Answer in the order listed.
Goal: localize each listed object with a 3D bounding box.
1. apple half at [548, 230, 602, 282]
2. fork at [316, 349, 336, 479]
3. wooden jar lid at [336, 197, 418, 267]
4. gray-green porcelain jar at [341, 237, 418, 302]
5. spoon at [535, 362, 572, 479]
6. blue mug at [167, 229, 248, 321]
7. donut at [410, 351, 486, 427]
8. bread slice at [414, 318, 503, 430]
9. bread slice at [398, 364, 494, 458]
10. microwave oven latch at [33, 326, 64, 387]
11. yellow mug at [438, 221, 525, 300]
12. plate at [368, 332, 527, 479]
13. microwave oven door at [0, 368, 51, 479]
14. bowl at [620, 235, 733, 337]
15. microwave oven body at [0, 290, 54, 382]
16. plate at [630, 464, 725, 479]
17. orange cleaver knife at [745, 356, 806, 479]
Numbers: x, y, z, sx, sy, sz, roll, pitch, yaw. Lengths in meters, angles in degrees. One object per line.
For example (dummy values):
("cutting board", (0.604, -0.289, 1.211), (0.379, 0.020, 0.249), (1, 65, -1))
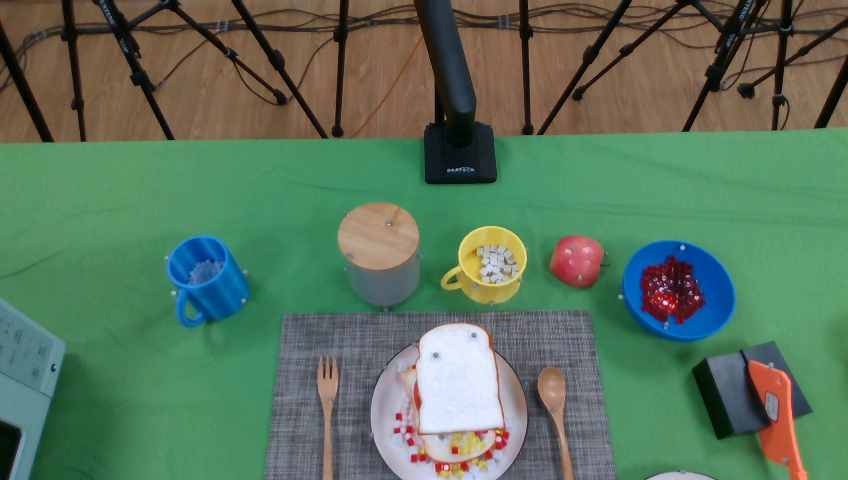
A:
("apple half", (0.229, 0.017, 0.909), (0.074, 0.054, 0.080), (19, 63, 13))
("fork", (-0.128, 0.244, 0.797), (0.028, 0.019, 0.205), (1, 59, -12))
("wooden jar lid", (-0.062, -0.009, 0.807), (0.108, 0.021, 0.107), (1, 59, -2))
("gray-green porcelain jar", (-0.061, 0.022, 0.863), (0.106, 0.127, 0.105), (0, 61, 0))
("spoon", (0.175, 0.255, 0.790), (0.042, 0.022, 0.192), (7, 59, -20))
("blue mug", (-0.310, 0.059, 0.853), (0.082, 0.106, 0.116), (18, 63, 10))
("donut", (0.032, 0.192, 0.784), (0.099, 0.048, 0.098), (0, 62, 0))
("bread slice", (0.036, 0.160, 0.731), (0.105, 0.019, 0.131), (-6, 74, 4))
("bread slice", (0.035, 0.218, 0.802), (0.107, 0.018, 0.133), (-17, 64, -7))
("microwave oven latch", (-0.513, 0.156, 0.816), (0.030, 0.030, 0.078), (3, 62, 1))
("yellow mug", (0.082, 0.036, 0.891), (0.131, 0.064, 0.099), (-21, 63, -10))
("plate", (0.030, 0.219, 0.801), (0.208, 0.039, 0.206), (0, 61, 0))
("microwave oven door", (-0.514, 0.299, 0.623), (0.039, 0.246, 0.352), (-1, 61, 0))
("bowl", (0.346, 0.076, 0.862), (0.151, 0.077, 0.150), (0, 61, 0))
("microwave oven body", (-0.660, 0.265, 0.646), (0.326, 0.262, 0.438), (0, 62, -1))
("plate", (0.312, 0.377, 0.720), (0.209, 0.038, 0.207), (0, 61, 0))
("orange cleaver knife", (0.447, 0.251, 0.764), (0.012, 0.077, 0.210), (-8, 83, -12))
